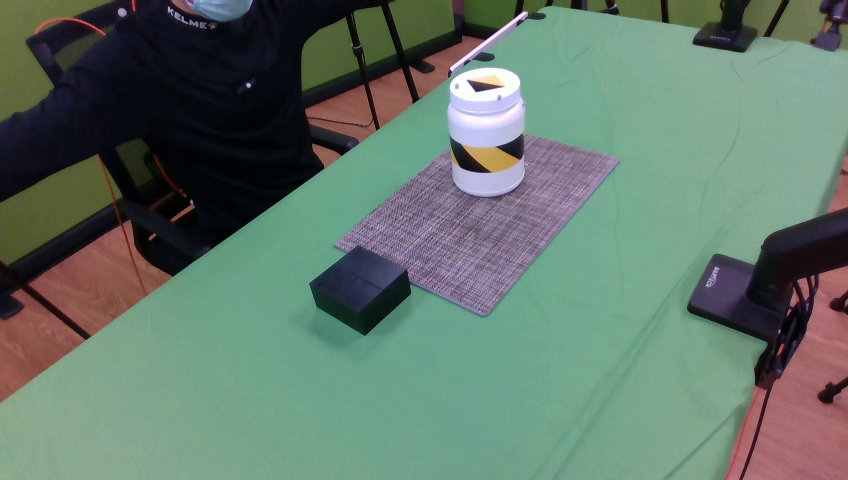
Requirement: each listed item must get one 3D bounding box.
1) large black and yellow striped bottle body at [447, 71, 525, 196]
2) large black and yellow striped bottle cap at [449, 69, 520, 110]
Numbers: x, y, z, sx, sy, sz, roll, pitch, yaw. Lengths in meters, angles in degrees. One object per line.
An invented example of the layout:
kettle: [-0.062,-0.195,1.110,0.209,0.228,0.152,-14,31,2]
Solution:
large black and yellow striped bottle body: [0.108,-0.183,1.034,0.131,0.185,0.130,-4,41,4]
large black and yellow striped bottle cap: [0.098,-0.246,0.980,0.115,0.019,0.114,-3,40,3]
